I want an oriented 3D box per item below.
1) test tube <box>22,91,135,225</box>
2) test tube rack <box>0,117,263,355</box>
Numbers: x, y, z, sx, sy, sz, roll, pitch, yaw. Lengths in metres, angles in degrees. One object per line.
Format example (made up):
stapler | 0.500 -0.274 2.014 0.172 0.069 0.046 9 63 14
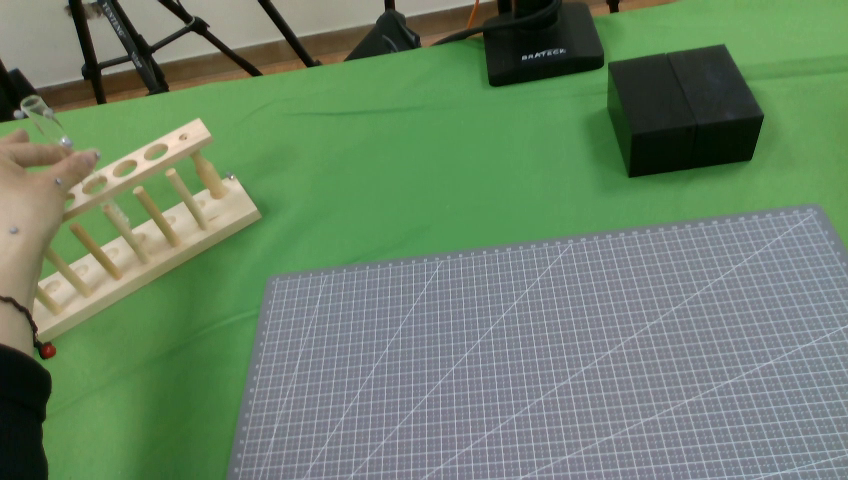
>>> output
test tube | -0.285 -0.062 0.512 0.017 0.152 0.017 -4 52 5
test tube rack | -0.279 -0.006 0.542 0.242 0.086 0.066 -32 51 -13
